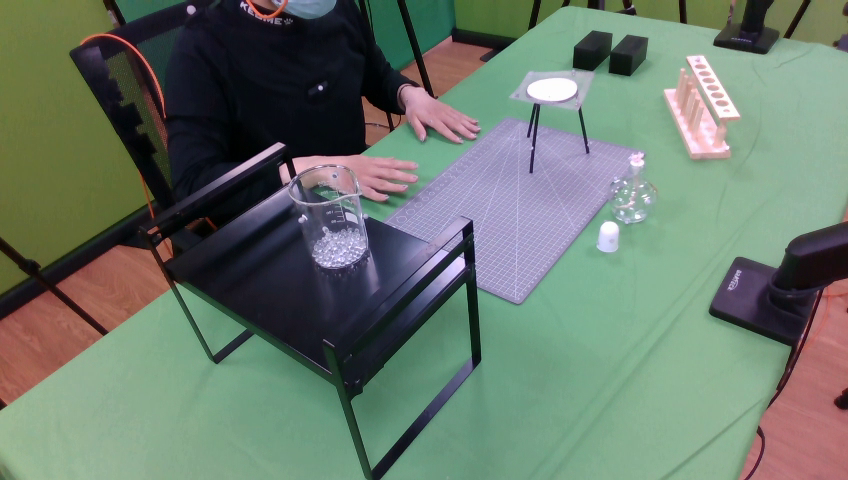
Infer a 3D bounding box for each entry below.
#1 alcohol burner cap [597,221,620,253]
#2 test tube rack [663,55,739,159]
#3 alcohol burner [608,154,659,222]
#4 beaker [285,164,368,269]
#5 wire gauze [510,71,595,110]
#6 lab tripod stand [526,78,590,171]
[{"bbox_3d":[0.283,-0.007,0.924,0.034,0.048,0.033,-4,39,4],"label":"alcohol burner cap"},{"bbox_3d":[0.518,-0.256,1.144,0.066,0.085,0.241,-1,41,8],"label":"test tube rack"},{"bbox_3d":[0.333,-0.087,0.954,0.078,0.119,0.077,-3,42,3],"label":"alcohol burner"},{"bbox_3d":[-0.102,-0.024,0.676,0.083,0.101,0.074,8,43,16],"label":"beaker"},{"bbox_3d":[0.224,-0.266,1.054,0.124,0.011,0.121,12,44,23],"label":"wire gauze"},{"bbox_3d":[0.228,-0.216,1.097,0.148,0.132,0.147,-6,40,5],"label":"lab tripod stand"}]
